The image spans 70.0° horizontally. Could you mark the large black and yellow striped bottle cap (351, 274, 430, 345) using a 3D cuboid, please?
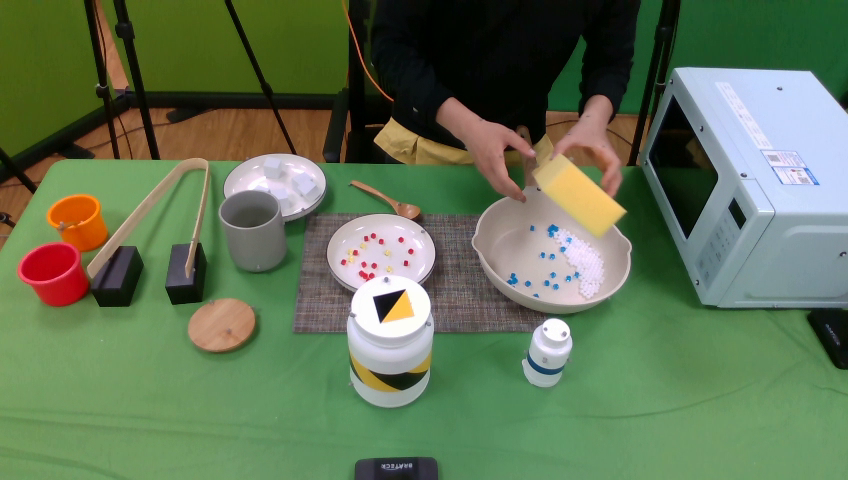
[{"bbox_3d":[-0.048,0.097,0.868,0.115,0.019,0.114,3,48,-3],"label":"large black and yellow striped bottle cap"}]

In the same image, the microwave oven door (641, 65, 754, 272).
[{"bbox_3d":[0.524,-0.148,1.193,0.039,0.245,0.353,0,47,-3],"label":"microwave oven door"}]

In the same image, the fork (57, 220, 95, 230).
[{"bbox_3d":[-0.624,-0.027,1.087,0.028,0.207,0.018,-3,92,-17],"label":"fork"}]

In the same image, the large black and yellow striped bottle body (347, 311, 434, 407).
[{"bbox_3d":[-0.052,0.157,0.929,0.131,0.185,0.130,2,47,-2],"label":"large black and yellow striped bottle body"}]

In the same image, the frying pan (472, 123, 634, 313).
[{"bbox_3d":[0.235,-0.060,1.207,0.307,0.103,0.484,2,54,-6],"label":"frying pan"}]

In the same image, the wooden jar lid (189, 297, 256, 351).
[{"bbox_3d":[-0.342,0.145,1.033,0.108,0.021,0.107,2,45,-2],"label":"wooden jar lid"}]

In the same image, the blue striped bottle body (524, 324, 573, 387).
[{"bbox_3d":[0.201,0.178,0.970,0.063,0.121,0.062,2,46,-2],"label":"blue striped bottle body"}]

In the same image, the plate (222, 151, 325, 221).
[{"bbox_3d":[-0.310,-0.106,1.263,0.208,0.039,0.206,2,47,-2],"label":"plate"}]

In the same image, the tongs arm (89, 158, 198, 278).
[{"bbox_3d":[-0.529,-0.057,1.164,0.028,0.028,0.385,1,36,8],"label":"tongs arm"}]

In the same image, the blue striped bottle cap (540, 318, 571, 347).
[{"bbox_3d":[0.203,0.142,0.933,0.044,0.021,0.044,3,50,-3],"label":"blue striped bottle cap"}]

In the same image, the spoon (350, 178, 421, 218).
[{"bbox_3d":[-0.084,-0.092,1.273,0.193,0.022,0.041,31,66,26],"label":"spoon"}]

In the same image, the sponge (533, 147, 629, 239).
[{"bbox_3d":[0.252,-0.084,1.003,0.118,0.061,0.206,40,14,-7],"label":"sponge"}]

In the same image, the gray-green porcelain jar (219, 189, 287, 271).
[{"bbox_3d":[-0.309,-0.014,1.113,0.106,0.127,0.105,2,46,-2],"label":"gray-green porcelain jar"}]

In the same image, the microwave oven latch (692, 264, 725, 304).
[{"bbox_3d":[0.522,0.082,1.116,0.030,0.029,0.078,2,46,-1],"label":"microwave oven latch"}]

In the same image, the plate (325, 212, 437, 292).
[{"bbox_3d":[-0.080,0.030,1.143,0.209,0.038,0.208,3,46,-3],"label":"plate"}]

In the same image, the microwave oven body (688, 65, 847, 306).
[{"bbox_3d":[0.669,-0.111,1.176,0.326,0.261,0.439,0,46,-3],"label":"microwave oven body"}]

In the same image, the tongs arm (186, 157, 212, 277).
[{"bbox_3d":[-0.445,-0.058,1.168,0.051,0.026,0.382,-5,37,-6],"label":"tongs arm"}]
